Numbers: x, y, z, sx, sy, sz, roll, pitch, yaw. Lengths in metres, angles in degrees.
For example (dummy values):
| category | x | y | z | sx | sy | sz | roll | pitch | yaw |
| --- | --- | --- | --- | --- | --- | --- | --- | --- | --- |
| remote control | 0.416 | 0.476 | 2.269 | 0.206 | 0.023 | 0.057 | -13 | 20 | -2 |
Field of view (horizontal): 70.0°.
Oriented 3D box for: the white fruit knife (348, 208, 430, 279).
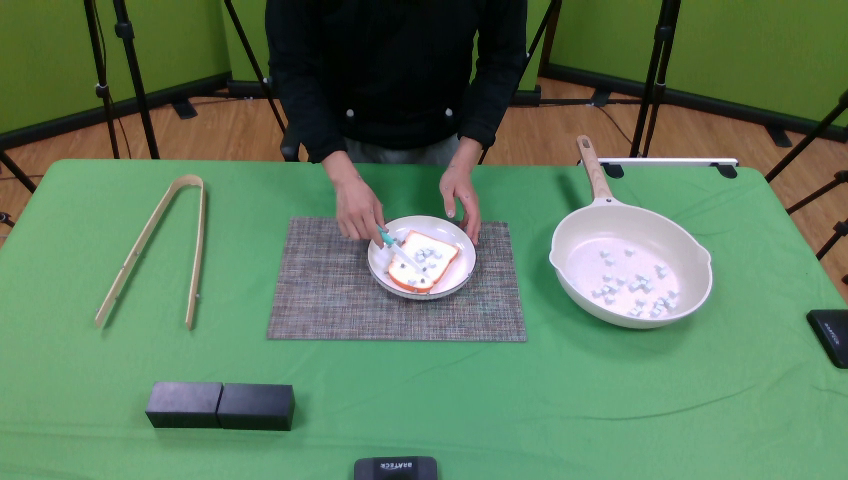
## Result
| category | x | y | z | sx | sy | sz | roll | pitch | yaw |
| --- | --- | --- | --- | --- | --- | --- | --- | --- | --- |
| white fruit knife | -0.066 | 0.004 | 1.123 | 0.206 | 0.027 | 0.016 | 40 | 57 | 15 |

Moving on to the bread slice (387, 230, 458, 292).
| category | x | y | z | sx | sy | sz | roll | pitch | yaw |
| --- | --- | --- | --- | --- | --- | --- | --- | --- | --- |
| bread slice | -0.007 | 0.042 | 1.142 | 0.107 | 0.018 | 0.134 | 18 | 46 | 14 |

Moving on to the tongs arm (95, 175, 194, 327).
| category | x | y | z | sx | sy | sz | roll | pitch | yaw |
| --- | --- | --- | --- | --- | --- | --- | --- | --- | --- |
| tongs arm | -0.516 | 0.006 | 1.142 | 0.051 | 0.026 | 0.382 | 4 | 45 | -2 |

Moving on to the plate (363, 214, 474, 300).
| category | x | y | z | sx | sy | sz | roll | pitch | yaw |
| --- | --- | --- | --- | --- | --- | --- | --- | --- | --- |
| plate | -0.010 | 0.036 | 1.147 | 0.208 | 0.039 | 0.206 | 2 | 46 | -2 |

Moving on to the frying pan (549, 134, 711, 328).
| category | x | y | z | sx | sy | sz | roll | pitch | yaw |
| --- | --- | --- | --- | --- | --- | --- | --- | --- | --- |
| frying pan | 0.372 | -0.035 | 1.203 | 0.307 | 0.103 | 0.484 | -1 | 55 | -6 |

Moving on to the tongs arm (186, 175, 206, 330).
| category | x | y | z | sx | sy | sz | roll | pitch | yaw |
| --- | --- | --- | --- | --- | --- | --- | --- | --- | --- |
| tongs arm | -0.436 | 0.009 | 1.151 | 0.028 | 0.028 | 0.385 | -7 | 47 | -8 |
